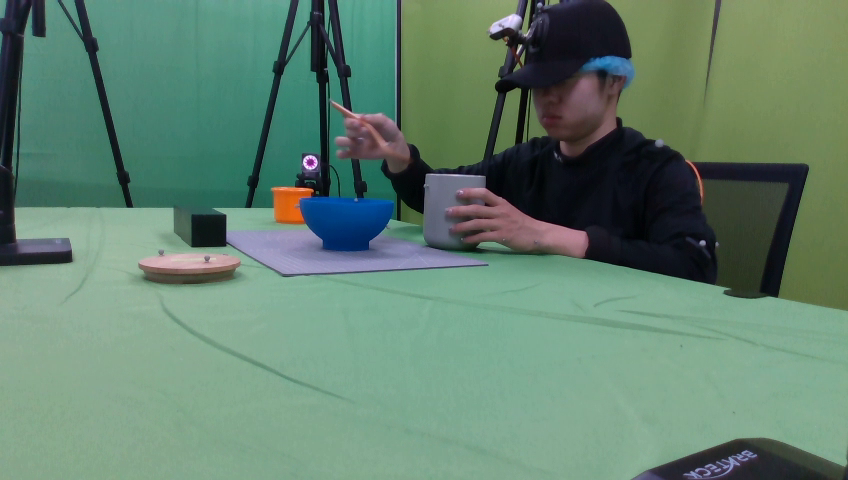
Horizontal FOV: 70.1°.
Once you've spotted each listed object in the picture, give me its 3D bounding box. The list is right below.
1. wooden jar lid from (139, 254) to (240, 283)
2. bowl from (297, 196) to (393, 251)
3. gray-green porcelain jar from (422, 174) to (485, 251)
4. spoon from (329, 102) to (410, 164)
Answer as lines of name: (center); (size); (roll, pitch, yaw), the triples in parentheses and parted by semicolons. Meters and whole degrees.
wooden jar lid: (-0.269, 0.032, 0.698); (0.108, 0.020, 0.108); (2, 5, 0)
bowl: (-0.125, -0.026, 0.958); (0.151, 0.077, 0.151); (2, 7, 0)
gray-green porcelain jar: (0.050, -0.049, 1.040); (0.106, 0.126, 0.106); (2, 8, 0)
spoon: (-0.094, -0.182, 1.019); (0.193, 0.021, 0.042); (44, 9, 23)
